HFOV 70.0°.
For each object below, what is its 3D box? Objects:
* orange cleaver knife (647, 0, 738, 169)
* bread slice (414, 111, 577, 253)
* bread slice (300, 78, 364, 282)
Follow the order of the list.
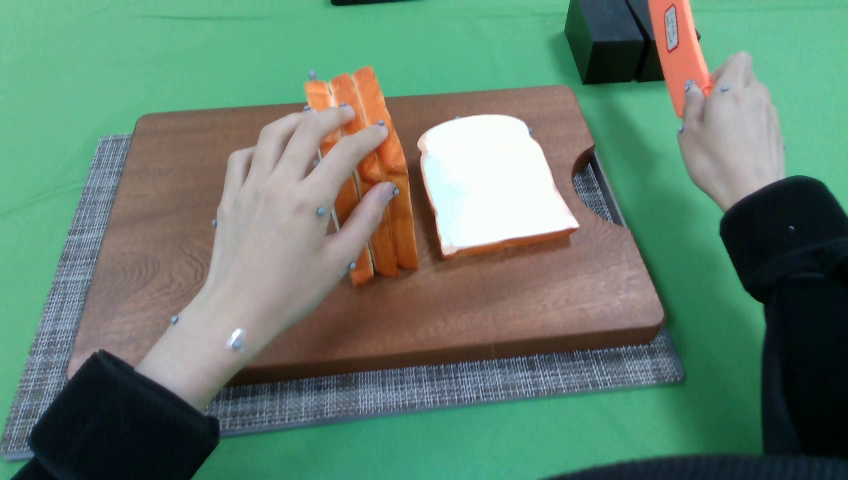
[{"bbox_3d":[0.222,-0.145,0.515,0.012,0.077,0.209,-5,68,-1],"label":"orange cleaver knife"},{"bbox_3d":[0.049,-0.051,0.479,0.105,0.019,0.130,-11,56,-7],"label":"bread slice"},{"bbox_3d":[-0.066,-0.050,0.433,0.018,0.108,0.132,-12,45,-9],"label":"bread slice"}]
